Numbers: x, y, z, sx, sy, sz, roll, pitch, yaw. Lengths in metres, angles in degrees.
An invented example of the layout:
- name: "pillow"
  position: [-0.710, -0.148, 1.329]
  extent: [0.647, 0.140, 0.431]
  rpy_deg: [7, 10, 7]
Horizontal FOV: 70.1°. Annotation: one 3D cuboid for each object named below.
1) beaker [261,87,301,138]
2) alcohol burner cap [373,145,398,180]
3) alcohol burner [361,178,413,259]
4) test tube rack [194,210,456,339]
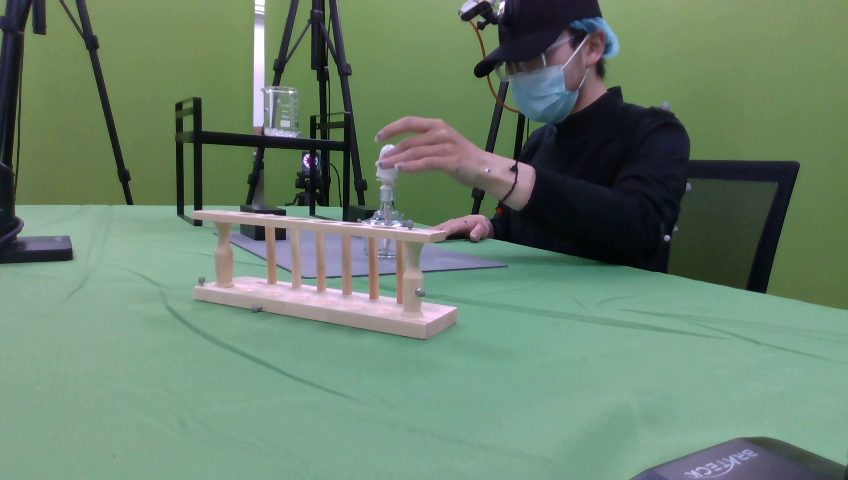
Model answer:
- name: "beaker"
  position: [-0.298, -0.263, 1.255]
  extent: [0.084, 0.100, 0.073]
  rpy_deg: [-5, 10, -40]
- name: "alcohol burner cap"
  position: [-0.051, -0.109, 0.851]
  extent: [0.034, 0.048, 0.034]
  rpy_deg: [12, 5, -1]
- name: "alcohol burner"
  position: [-0.054, -0.033, 0.871]
  extent: [0.078, 0.119, 0.078]
  rpy_deg: [1, 9, 0]
- name: "test tube rack"
  position: [-0.093, 0.023, 0.545]
  extent: [0.241, 0.085, 0.067]
  rpy_deg: [6, 8, 25]
